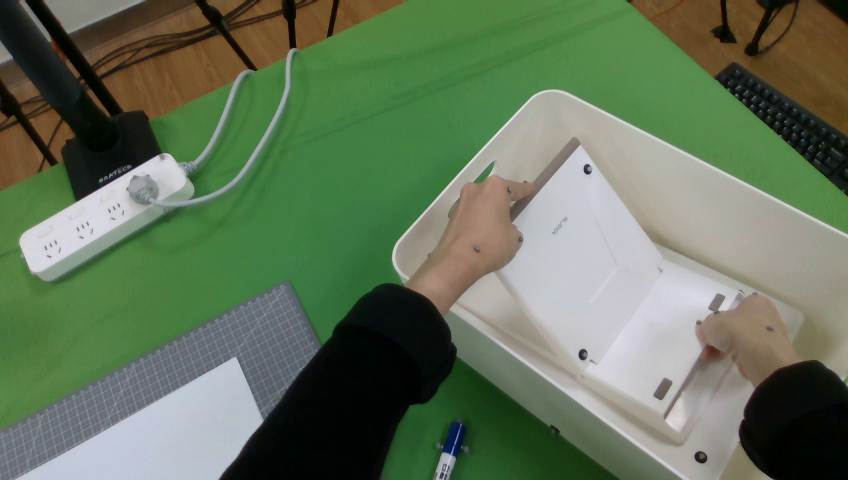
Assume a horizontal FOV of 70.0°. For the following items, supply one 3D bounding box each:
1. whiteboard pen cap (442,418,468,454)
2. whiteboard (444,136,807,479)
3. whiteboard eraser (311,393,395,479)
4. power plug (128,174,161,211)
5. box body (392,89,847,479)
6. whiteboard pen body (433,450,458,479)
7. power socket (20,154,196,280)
[{"bbox_3d":[0.030,0.195,0.599,0.018,0.018,0.033,15,65,15],"label":"whiteboard pen cap"},{"bbox_3d":[0.183,0.038,0.565,0.303,0.145,0.217,31,64,27],"label":"whiteboard"},{"bbox_3d":[-0.070,0.209,0.584,0.055,0.042,0.112,11,63,14],"label":"whiteboard eraser"},{"bbox_3d":[-0.337,-0.049,0.739,0.035,0.053,0.072,-24,67,-7],"label":"power plug"},{"bbox_3d":[0.187,0.058,0.573,0.361,0.162,0.253,34,70,22],"label":"box body"},{"bbox_3d":[0.010,0.244,0.574,0.017,0.017,0.140,16,64,15],"label":"whiteboard pen body"},{"bbox_3d":[-0.394,-0.031,0.761,0.227,0.033,0.071,-33,63,-12],"label":"power socket"}]
